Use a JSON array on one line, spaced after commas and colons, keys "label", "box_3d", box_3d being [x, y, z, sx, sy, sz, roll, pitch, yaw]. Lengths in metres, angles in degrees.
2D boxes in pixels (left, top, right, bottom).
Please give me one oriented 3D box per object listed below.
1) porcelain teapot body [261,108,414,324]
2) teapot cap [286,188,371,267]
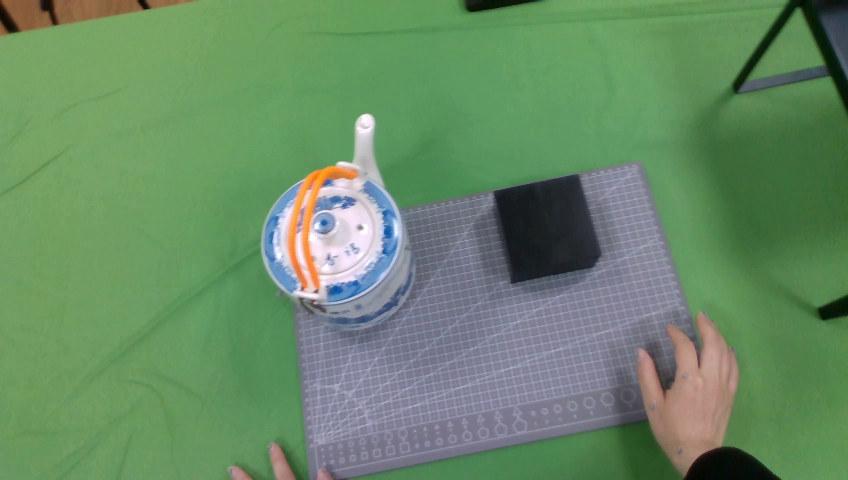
[{"label": "porcelain teapot body", "box_3d": [-0.085, -0.029, 0.634, 0.145, 0.227, 0.204, 10, 72, 8]}, {"label": "teapot cap", "box_3d": [-0.094, -0.015, 0.588, 0.085, 0.044, 0.084, -2, 69, 7]}]
